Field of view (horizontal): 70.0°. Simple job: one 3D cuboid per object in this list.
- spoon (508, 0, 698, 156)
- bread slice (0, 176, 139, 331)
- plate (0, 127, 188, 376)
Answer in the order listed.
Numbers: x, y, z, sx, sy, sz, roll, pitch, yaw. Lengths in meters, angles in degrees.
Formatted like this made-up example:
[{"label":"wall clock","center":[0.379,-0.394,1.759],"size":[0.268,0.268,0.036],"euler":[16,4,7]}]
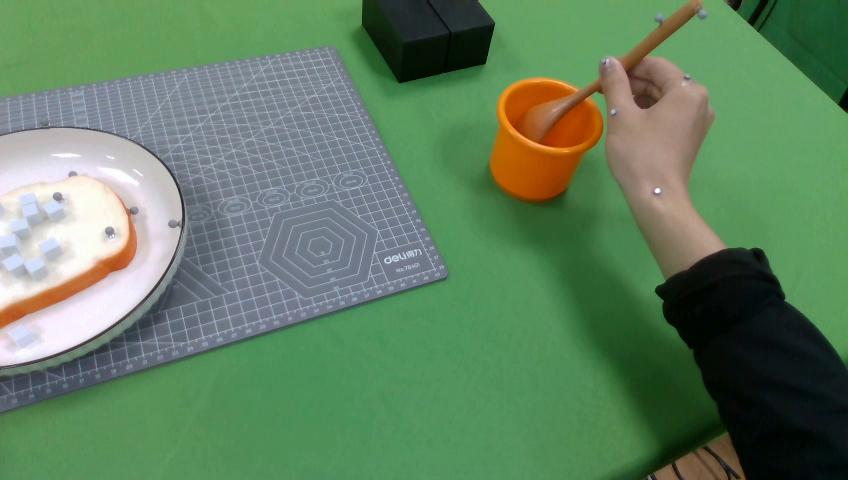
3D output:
[{"label":"spoon","center":[0.137,-0.130,0.498],"size":[0.022,0.193,0.041],"euler":[21,51,-37]},{"label":"bread slice","center":[-0.282,0.002,0.441],"size":[0.131,0.019,0.104],"euler":[-30,65,-24]},{"label":"plate","center":[-0.278,0.004,0.436],"size":[0.209,0.038,0.207],"euler":[5,55,-6]}]
